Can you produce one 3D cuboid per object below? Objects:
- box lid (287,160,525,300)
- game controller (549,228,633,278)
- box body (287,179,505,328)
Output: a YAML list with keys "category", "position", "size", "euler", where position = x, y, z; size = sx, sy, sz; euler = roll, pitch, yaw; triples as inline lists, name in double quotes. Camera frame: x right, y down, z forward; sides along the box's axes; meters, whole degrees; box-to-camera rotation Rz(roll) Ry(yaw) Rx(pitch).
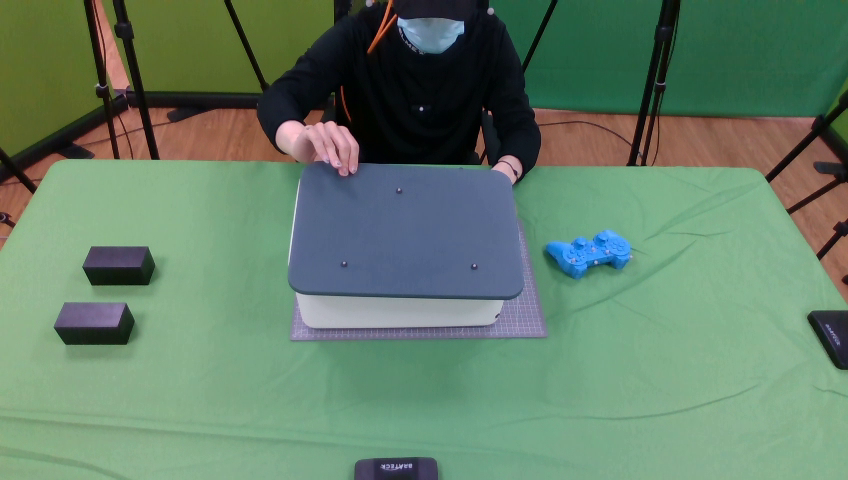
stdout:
- category: "box lid"
  position: [-0.024, -0.022, 0.986]
  size: [0.372, 0.015, 0.261]
  euler: [2, 56, -4]
- category: "game controller"
  position: [0.332, 0.016, 1.182]
  size: [0.155, 0.052, 0.096]
  euler: [-12, 52, -14]
- category: "box body"
  position: [-0.040, 0.015, 1.075]
  size: [0.364, 0.161, 0.252]
  euler: [-1, 47, -4]
